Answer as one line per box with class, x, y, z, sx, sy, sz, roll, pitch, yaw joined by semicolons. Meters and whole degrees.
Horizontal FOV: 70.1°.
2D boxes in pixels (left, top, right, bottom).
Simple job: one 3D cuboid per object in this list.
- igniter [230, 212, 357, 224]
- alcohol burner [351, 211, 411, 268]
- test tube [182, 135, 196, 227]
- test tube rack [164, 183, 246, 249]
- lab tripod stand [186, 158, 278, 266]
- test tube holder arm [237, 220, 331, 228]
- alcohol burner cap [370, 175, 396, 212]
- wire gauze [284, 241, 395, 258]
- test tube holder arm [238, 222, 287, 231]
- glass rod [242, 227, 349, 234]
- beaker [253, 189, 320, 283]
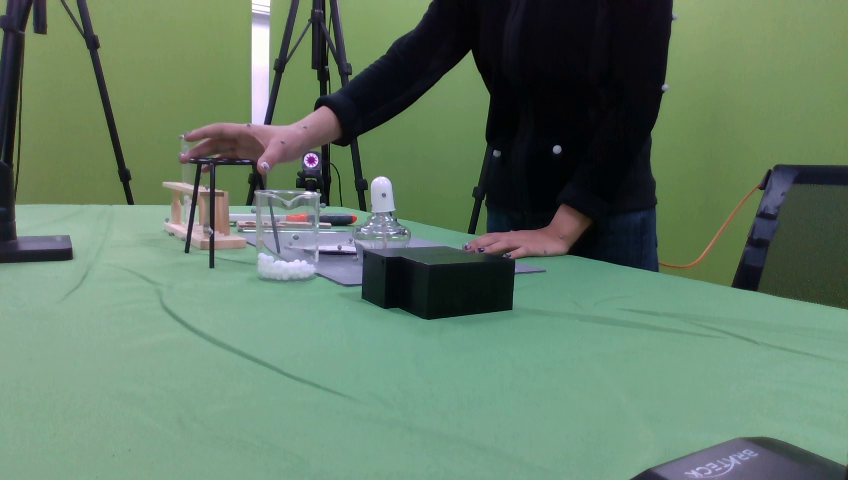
igniter;-0.271;-0.044;1.231;0.278;0.025;0.057;-2;-1;-28
alcohol burner;-0.055;-0.024;0.784;0.078;0.119;0.078;1;9;0
test tube;-0.382;-0.095;0.983;0.017;0.150;0.017;-1;2;0
test tube rack;-0.360;-0.044;0.982;0.067;0.085;0.241;-3;9;-34
lab tripod stand;-0.261;-0.041;0.796;0.148;0.131;0.148;3;9;0
test tube holder arm;-0.261;-0.030;1.141;0.179;0.015;0.013;-3;45;-33
alcohol burner cap;-0.055;-0.059;0.778;0.034;0.048;0.034;-7;10;2
wire gauze;-0.127;0.013;0.894;0.126;0.011;0.121;1;6;-35
test tube holder arm;-0.296;-0.024;1.113;0.088;0.015;0.010;-2;44;-32
glass rod;-0.231;-0.016;1.109;0.201;0.008;0.008;2;6;-29
beaker;-0.156;-0.005;0.689;0.074;0.100;0.083;0;8;-14
